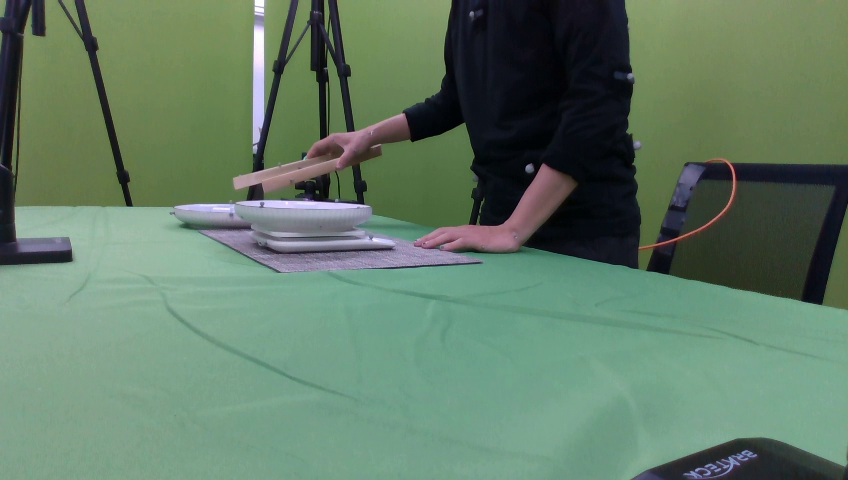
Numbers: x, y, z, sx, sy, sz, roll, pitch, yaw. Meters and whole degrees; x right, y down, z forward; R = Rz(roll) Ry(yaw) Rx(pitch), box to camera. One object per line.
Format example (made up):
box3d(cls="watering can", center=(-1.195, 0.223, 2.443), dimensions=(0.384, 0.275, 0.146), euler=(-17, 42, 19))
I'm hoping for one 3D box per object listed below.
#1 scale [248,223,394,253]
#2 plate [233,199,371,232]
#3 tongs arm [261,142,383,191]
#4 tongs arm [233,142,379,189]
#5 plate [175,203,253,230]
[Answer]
box3d(cls="scale", center=(-0.162, -0.006, 0.954), dimensions=(0.202, 0.031, 0.148), euler=(-2, 8, -32))
box3d(cls="plate", center=(-0.188, -0.039, 0.939), dimensions=(0.209, 0.038, 0.209), euler=(3, 7, 0))
box3d(cls="tongs arm", center=(-0.207, -0.167, 1.325), dimensions=(0.028, 0.028, 0.389), euler=(-1, 18, 37))
box3d(cls="tongs arm", center=(-0.248, -0.172, 1.359), dimensions=(0.050, 0.026, 0.386), euler=(6, 21, 40))
box3d(cls="plate", center=(-0.381, -0.047, 1.199), dimensions=(0.208, 0.039, 0.207), euler=(3, 7, 0))
